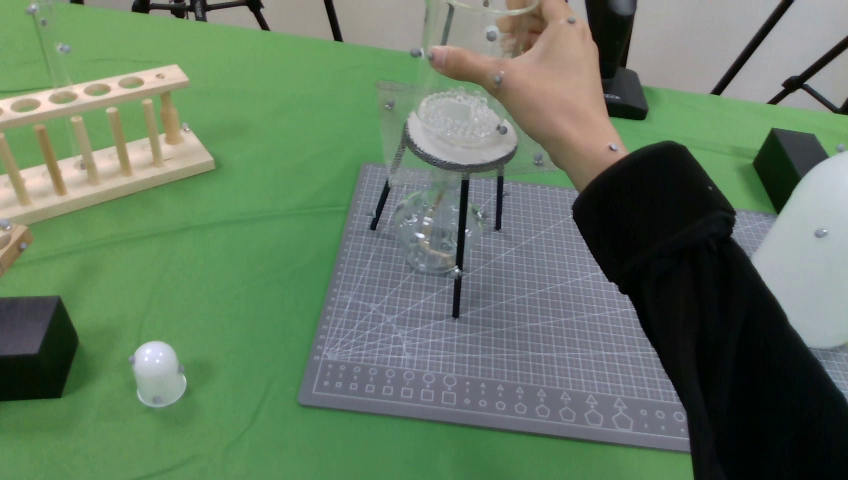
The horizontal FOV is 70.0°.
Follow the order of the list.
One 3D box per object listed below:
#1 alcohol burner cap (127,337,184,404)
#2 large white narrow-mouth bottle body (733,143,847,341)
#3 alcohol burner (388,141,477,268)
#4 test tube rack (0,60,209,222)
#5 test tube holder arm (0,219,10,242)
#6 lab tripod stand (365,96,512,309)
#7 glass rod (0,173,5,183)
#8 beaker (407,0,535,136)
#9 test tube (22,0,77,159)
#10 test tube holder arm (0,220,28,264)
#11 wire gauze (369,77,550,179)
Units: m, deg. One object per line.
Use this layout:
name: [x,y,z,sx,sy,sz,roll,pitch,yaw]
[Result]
alcohol burner cap: [-0.185,0.087,0.414,0.034,0.048,0.033,5,44,-5]
large white narrow-mouth bottle body: [0.335,-0.013,0.484,0.102,0.196,0.101,4,43,-3]
alcohol burner: [0.009,-0.034,0.515,0.078,0.120,0.077,6,42,-5]
test tube rack: [-0.327,-0.083,0.539,0.243,0.086,0.066,-23,52,-29]
test tube holder arm: [-0.314,0.048,0.380,0.013,0.015,0.177,9,42,1]
lab tripod stand: [0.019,-0.038,0.506,0.148,0.132,0.147,6,44,-5]
glass rod: [-0.363,-0.134,0.490,0.008,0.201,0.008,7,35,-5]
beaker: [0.026,-0.132,0.427,0.084,0.101,0.073,4,43,-7]
test tube: [-0.318,-0.136,0.525,0.017,0.151,0.017,5,39,-4]
test tube holder arm: [-0.303,0.020,0.414,0.010,0.015,0.087,9,42,2]
wire gauze: [0.022,-0.088,0.461,0.122,0.011,0.123,-1,45,-12]
